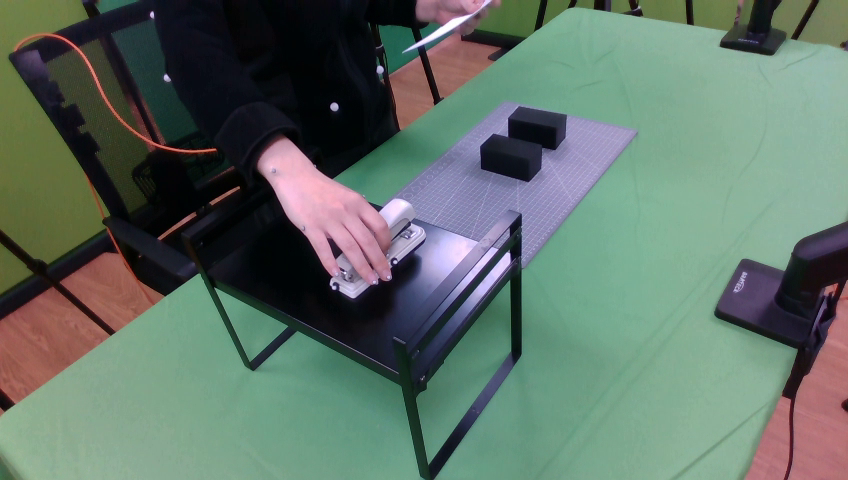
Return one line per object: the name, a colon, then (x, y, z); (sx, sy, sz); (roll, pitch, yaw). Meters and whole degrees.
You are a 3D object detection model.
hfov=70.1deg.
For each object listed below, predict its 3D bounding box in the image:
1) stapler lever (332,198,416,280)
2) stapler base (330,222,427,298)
stapler lever: (-0.054, -0.004, 0.671); (0.026, 0.040, 0.118); (23, 49, 35)
stapler base: (-0.050, 0.013, 0.688); (0.041, 0.024, 0.131); (23, 51, 35)
